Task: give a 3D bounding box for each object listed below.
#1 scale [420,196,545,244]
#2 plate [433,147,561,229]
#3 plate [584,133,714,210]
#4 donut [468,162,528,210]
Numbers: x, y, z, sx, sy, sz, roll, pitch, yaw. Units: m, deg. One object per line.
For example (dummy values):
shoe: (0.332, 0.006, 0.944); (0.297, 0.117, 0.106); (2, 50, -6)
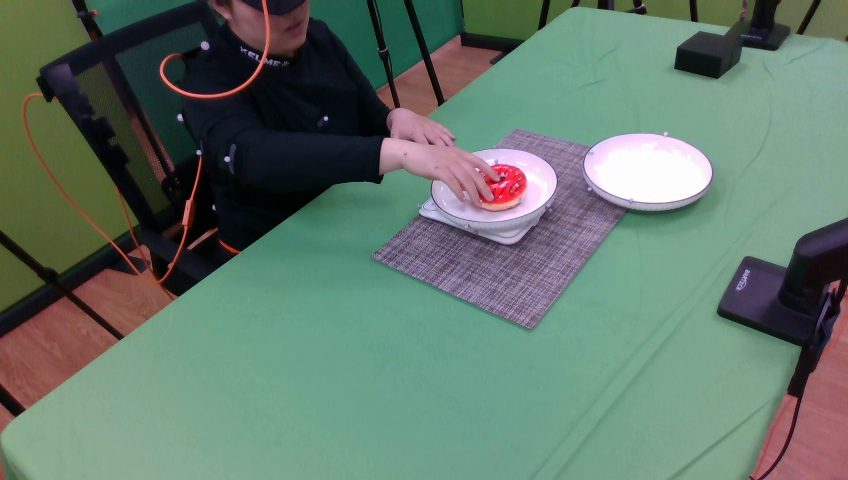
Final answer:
scale: (0.106, -0.065, 1.029); (0.199, 0.032, 0.149); (21, 48, 32)
plate: (0.120, -0.082, 0.996); (0.207, 0.039, 0.206); (-6, 40, 5)
plate: (0.379, -0.113, 1.030); (0.209, 0.038, 0.208); (-4, 41, 4)
donut: (0.121, -0.088, 0.985); (0.099, 0.048, 0.098); (-8, 42, 8)
